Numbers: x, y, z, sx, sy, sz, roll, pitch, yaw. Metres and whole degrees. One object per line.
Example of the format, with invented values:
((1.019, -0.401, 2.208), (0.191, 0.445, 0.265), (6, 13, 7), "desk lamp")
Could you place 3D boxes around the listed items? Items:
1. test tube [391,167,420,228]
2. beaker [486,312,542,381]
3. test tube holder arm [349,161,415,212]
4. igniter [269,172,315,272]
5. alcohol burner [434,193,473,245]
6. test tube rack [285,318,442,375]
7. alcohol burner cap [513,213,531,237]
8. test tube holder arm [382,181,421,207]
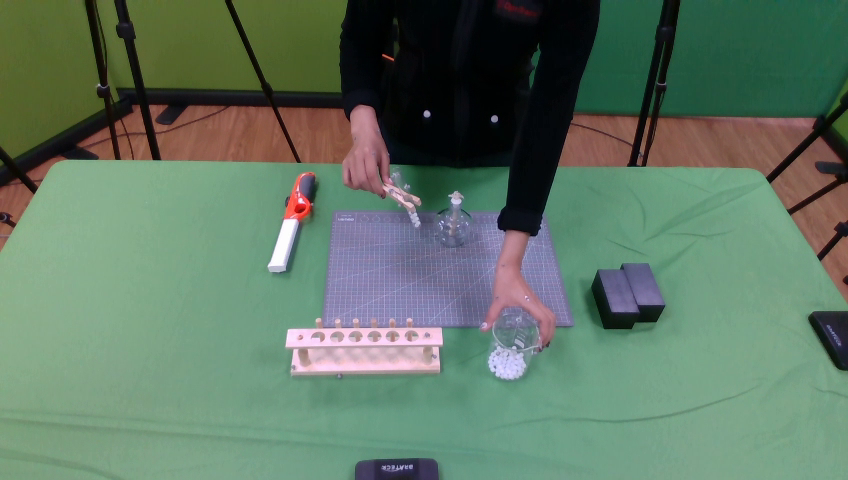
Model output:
((-0.029, -0.069, 1.034), (0.017, 0.151, 0.017), (-8, 52, 11), "test tube")
((0.144, 0.177, 0.985), (0.084, 0.101, 0.074), (22, 49, 16), "beaker")
((-0.077, -0.097, 1.073), (0.013, 0.015, 0.177), (-42, 54, -19), "test tube holder arm")
((-0.263, -0.045, 1.219), (0.057, 0.025, 0.275), (-2, 45, 8), "igniter")
((0.059, -0.046, 1.180), (0.078, 0.120, 0.077), (1, 48, -1), "alcohol burner")
((-0.095, 0.168, 0.986), (0.242, 0.085, 0.066), (0, 46, -4), "test tube rack")
((0.200, -0.033, 1.227), (0.034, 0.048, 0.033), (1, 45, -1), "alcohol burner cap")
((-0.042, -0.080, 1.051), (0.087, 0.015, 0.010), (27, 64, 31), "test tube holder arm")
